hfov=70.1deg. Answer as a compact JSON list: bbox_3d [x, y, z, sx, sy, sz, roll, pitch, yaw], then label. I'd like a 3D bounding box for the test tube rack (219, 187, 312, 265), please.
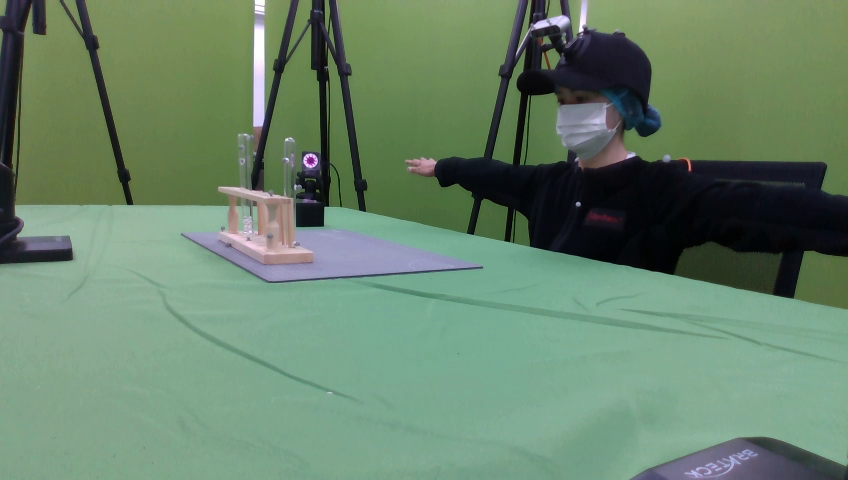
[{"bbox_3d":[-0.235,-0.027,0.872,0.067,0.085,0.241,-2,8,-31],"label":"test tube rack"}]

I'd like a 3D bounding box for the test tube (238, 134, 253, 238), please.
[{"bbox_3d":[-0.258,-0.078,0.873,0.017,0.150,0.017,-1,5,0],"label":"test tube"}]

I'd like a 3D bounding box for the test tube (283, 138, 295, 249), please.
[{"bbox_3d":[-0.182,-0.062,0.815,0.017,0.150,0.017,2,8,0],"label":"test tube"}]
